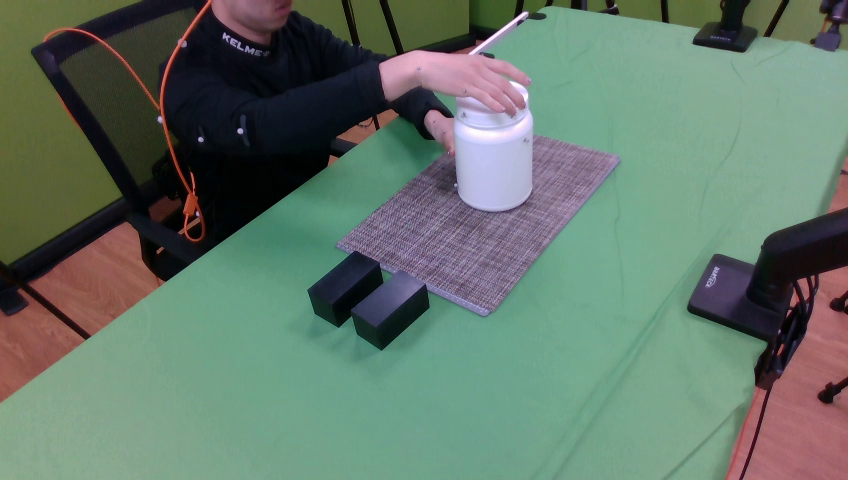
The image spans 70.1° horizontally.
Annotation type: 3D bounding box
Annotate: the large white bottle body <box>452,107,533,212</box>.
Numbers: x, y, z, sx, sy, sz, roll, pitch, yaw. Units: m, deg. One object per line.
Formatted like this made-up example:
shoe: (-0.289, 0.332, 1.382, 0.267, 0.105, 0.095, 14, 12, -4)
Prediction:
large white bottle body: (0.115, -0.154, 1.000, 0.130, 0.185, 0.130, -5, 41, 4)

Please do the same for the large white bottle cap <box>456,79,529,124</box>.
large white bottle cap: (0.106, -0.218, 0.945, 0.115, 0.018, 0.114, -4, 41, 4)
